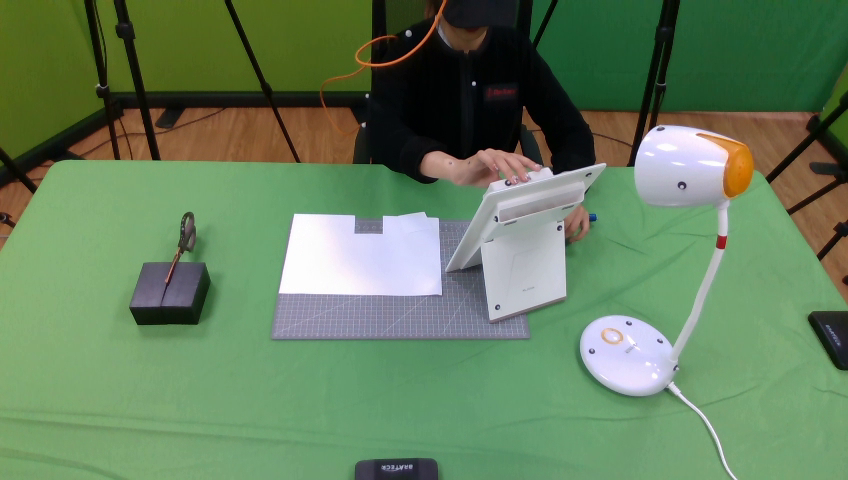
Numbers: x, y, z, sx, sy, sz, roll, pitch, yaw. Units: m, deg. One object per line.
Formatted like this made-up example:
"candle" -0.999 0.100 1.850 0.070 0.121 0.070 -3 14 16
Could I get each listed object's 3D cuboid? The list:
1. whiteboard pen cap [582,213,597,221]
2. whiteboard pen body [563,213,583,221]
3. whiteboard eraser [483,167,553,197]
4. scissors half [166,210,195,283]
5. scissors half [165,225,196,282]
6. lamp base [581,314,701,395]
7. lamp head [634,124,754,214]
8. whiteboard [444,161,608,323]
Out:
"whiteboard pen cap" 0.342 -0.047 1.260 0.033 0.018 0.018 -2 46 -3
"whiteboard pen body" 0.282 -0.048 1.259 0.141 0.017 0.017 -2 46 -3
"whiteboard eraser" 0.154 -0.082 0.981 0.113 0.056 0.041 -17 68 -19
"scissors half" -0.440 0.010 1.094 0.013 0.040 0.174 8 48 -9
"scissors half" -0.444 0.026 1.107 0.013 0.040 0.174 4 30 -5
"lamp base" 0.361 0.145 0.973 0.178 0.181 0.160 34 53 23
"lamp head" 0.351 -0.089 0.776 0.112 0.113 0.122 -30 30 -28
"whiteboard" 0.186 0.025 1.029 0.217 0.306 0.143 -14 68 -18
